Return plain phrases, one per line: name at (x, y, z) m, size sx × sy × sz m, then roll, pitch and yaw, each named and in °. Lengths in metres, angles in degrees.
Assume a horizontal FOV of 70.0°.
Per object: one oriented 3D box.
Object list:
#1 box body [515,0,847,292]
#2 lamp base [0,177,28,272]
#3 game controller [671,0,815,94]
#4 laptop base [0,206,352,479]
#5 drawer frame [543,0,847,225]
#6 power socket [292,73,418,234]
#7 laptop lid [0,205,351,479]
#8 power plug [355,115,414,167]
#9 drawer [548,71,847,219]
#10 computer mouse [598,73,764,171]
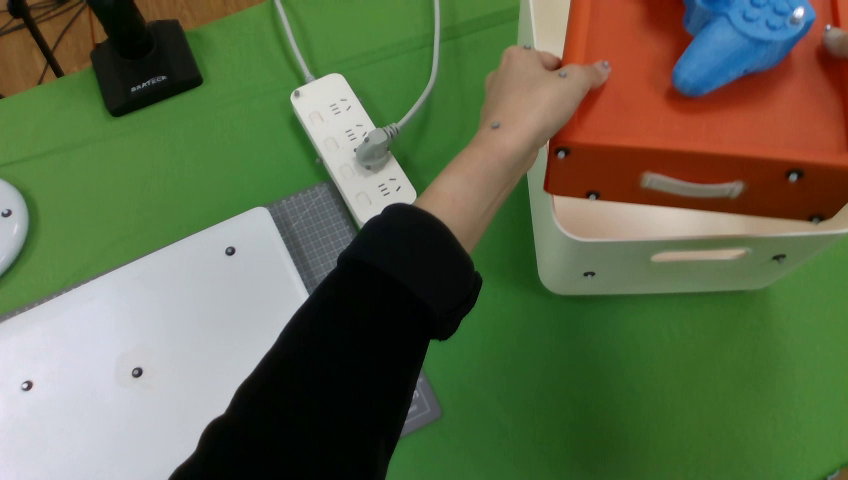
box body at (0.233, -0.133, 0.630) m, size 0.254 × 0.161 × 0.361 m, roll -2°, pitch 65°, yaw 1°
lamp base at (-0.539, -0.044, 0.609) m, size 0.178 × 0.182 × 0.160 m, roll 21°, pitch 67°, yaw 14°
game controller at (0.197, -0.180, 0.421) m, size 0.097 × 0.052 × 0.153 m, roll -14°, pitch 64°, yaw -4°
laptop base at (-0.276, 0.131, 0.606) m, size 0.354 × 0.023 × 0.233 m, roll -27°, pitch 71°, yaw -10°
drawer frame at (0.202, -0.131, 0.454) m, size 0.201 × 0.083 × 0.212 m, roll 7°, pitch 65°, yaw 11°
power socket at (-0.082, -0.105, 0.701) m, size 0.072 × 0.033 × 0.225 m, roll -27°, pitch 67°, yaw -11°
laptop lid at (-0.275, 0.128, 0.595) m, size 0.357 × 0.013 × 0.239 m, roll -25°, pitch 69°, yaw -9°
power plug at (-0.041, -0.103, 0.673) m, size 0.072 × 0.053 × 0.035 m, roll -16°, pitch 64°, yaw -6°
drawer at (0.202, -0.128, 0.455) m, size 0.194 × 0.074 × 0.210 m, roll 7°, pitch 64°, yaw 12°
computer mouse at (0.192, -0.093, 0.455) m, size 0.116 × 0.041 × 0.062 m, roll 13°, pitch 69°, yaw 17°
